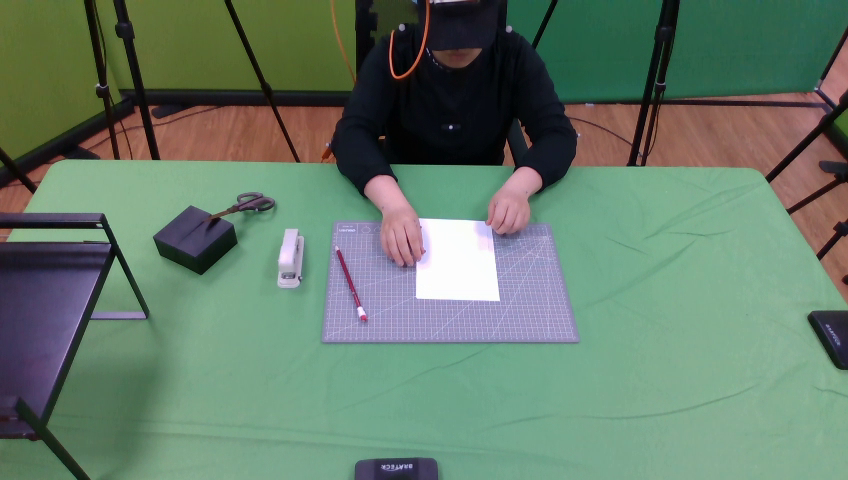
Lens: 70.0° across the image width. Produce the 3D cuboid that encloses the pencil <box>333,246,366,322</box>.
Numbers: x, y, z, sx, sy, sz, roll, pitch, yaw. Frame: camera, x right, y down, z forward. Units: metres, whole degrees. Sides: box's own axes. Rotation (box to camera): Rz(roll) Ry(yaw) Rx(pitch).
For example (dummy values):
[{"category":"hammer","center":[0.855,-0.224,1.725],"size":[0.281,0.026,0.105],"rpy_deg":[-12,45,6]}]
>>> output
[{"category":"pencil","center":[-0.140,0.076,1.117],"size":[0.012,0.012,0.192],"rpy_deg":[-14,48,-17]}]

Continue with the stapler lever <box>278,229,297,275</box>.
[{"category":"stapler lever","center":[-0.254,0.016,1.128],"size":[0.027,0.040,0.117],"rpy_deg":[1,45,-7]}]

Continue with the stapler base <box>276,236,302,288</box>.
[{"category":"stapler base","center":[-0.255,0.034,1.144],"size":[0.041,0.024,0.129],"rpy_deg":[1,44,-8]}]

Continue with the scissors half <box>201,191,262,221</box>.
[{"category":"scissors half","center":[-0.381,-0.066,1.198],"size":[0.040,0.013,0.175],"rpy_deg":[25,28,9]}]

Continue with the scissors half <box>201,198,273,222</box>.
[{"category":"scissors half","center":[-0.365,-0.055,1.192],"size":[0.040,0.013,0.175],"rpy_deg":[39,32,22]}]
